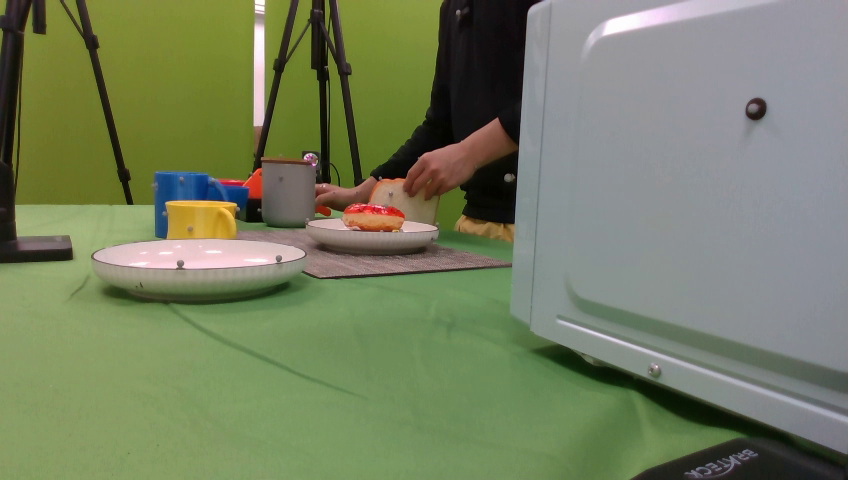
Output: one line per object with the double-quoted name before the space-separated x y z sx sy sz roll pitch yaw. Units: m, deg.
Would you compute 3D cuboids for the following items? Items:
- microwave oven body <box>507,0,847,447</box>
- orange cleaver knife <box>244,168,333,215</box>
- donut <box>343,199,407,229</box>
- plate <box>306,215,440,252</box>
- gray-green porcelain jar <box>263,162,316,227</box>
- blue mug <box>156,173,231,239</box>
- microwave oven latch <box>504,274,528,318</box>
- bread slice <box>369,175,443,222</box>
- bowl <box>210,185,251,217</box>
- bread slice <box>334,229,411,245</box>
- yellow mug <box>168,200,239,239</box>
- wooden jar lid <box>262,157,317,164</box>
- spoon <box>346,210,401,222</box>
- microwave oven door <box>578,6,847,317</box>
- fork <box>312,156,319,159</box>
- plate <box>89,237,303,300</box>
"microwave oven body" 0.331 -0.042 0.425 0.444 0.260 0.324 -2 8 -31
"orange cleaver knife" -0.300 -0.089 1.351 0.212 0.077 0.012 28 -8 -34
"donut" -0.077 -0.039 0.948 0.099 0.048 0.099 2 4 0
"plate" -0.080 -0.011 0.949 0.209 0.038 0.209 2 8 0
"gray-green porcelain jar" -0.271 -0.092 1.217 0.106 0.126 0.106 2 7 0
"blue mug" -0.381 -0.057 1.004 0.117 0.106 0.082 0 8 -12
"microwave oven latch" 0.100 0.041 0.471 0.079 0.029 0.030 -1 8 -28
"bread slice" -0.036 -0.069 1.131 0.135 0.107 0.018 1 20 -17
"bowl" -0.408 -0.064 1.155 0.151 0.077 0.151 2 8 0
"bread slice" -0.075 -0.006 0.938 0.105 0.019 0.131 -1 5 -20
"yellow mug" -0.320 -0.023 0.904 0.130 0.064 0.100 9 11 36
"wooden jar lid" -0.269 -0.154 1.208 0.108 0.020 0.108 3 4 0
"spoon" -0.121 -0.060 1.400 0.042 0.021 0.192 -25 24 -38
"microwave oven door" 0.294 -0.067 0.570 0.358 0.243 0.039 -3 9 -31
"fork" -0.331 -0.144 1.506 0.207 0.018 0.028 -42 -20 22
"plate" -0.233 0.029 0.637 0.208 0.039 0.207 2 7 0
